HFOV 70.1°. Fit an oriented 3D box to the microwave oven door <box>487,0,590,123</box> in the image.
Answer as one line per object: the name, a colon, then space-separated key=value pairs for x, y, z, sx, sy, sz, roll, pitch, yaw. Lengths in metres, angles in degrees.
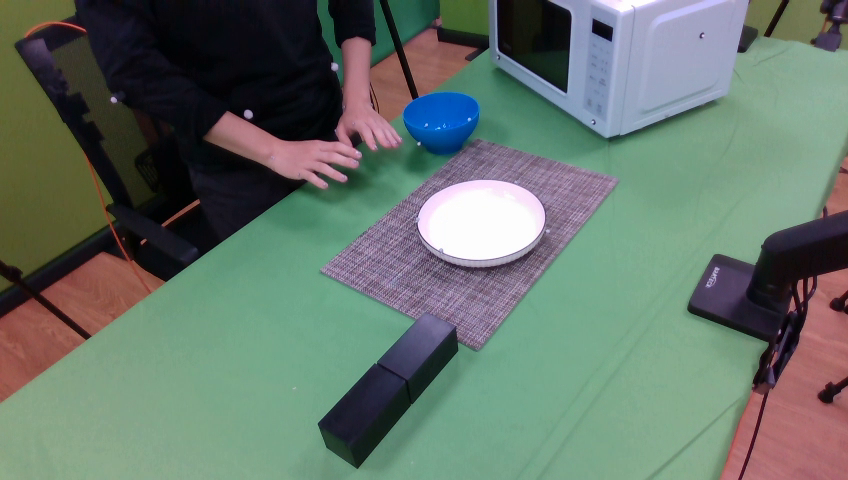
microwave oven door: x=0.232 y=-0.420 z=1.231 sx=0.039 sy=0.245 sz=0.352 roll=-22 pitch=43 yaw=-16

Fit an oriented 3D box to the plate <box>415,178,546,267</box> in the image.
plate: x=0.091 y=-0.026 z=0.970 sx=0.207 sy=0.039 sz=0.206 roll=-4 pitch=41 yaw=4

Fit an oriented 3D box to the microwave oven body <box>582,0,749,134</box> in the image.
microwave oven body: x=0.382 y=-0.444 z=1.246 sx=0.327 sy=0.261 sz=0.437 roll=-22 pitch=42 yaw=-16

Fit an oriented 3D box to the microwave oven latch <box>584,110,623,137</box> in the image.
microwave oven latch: x=0.337 y=-0.222 z=1.142 sx=0.030 sy=0.029 sz=0.078 roll=-21 pitch=42 yaw=-14

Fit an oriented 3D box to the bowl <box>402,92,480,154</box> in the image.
bowl: x=0.036 y=-0.220 z=1.180 sx=0.151 sy=0.077 sz=0.150 roll=-4 pitch=40 yaw=4
